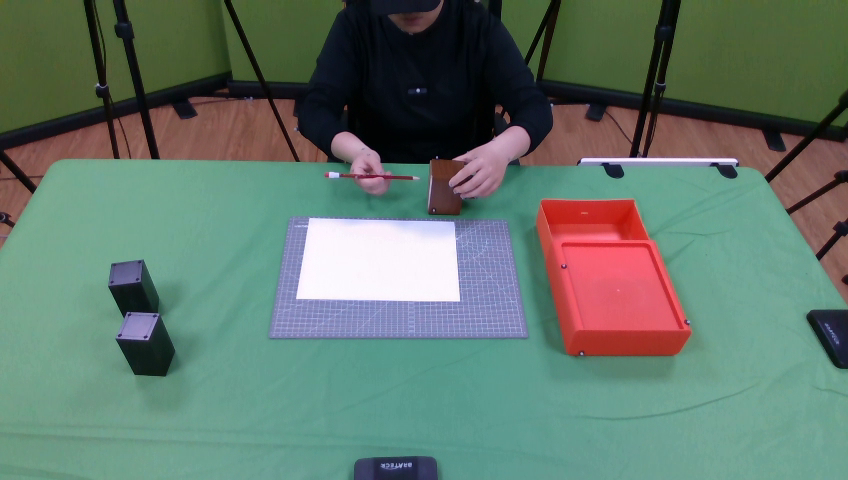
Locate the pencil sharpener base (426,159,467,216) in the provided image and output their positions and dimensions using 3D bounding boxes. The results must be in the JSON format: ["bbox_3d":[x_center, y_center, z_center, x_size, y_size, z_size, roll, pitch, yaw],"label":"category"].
[{"bbox_3d":[0.045,-0.106,1.245,0.077,0.107,0.061,3,45,-3],"label":"pencil sharpener base"}]

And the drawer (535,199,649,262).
[{"bbox_3d":[0.332,0.015,1.169,0.195,0.073,0.210,0,46,-5],"label":"drawer"}]

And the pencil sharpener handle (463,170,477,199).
[{"bbox_3d":[0.097,-0.112,1.239,0.031,0.068,0.036,3,41,-3],"label":"pencil sharpener handle"}]

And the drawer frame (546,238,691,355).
[{"bbox_3d":[0.338,0.097,1.086,0.202,0.083,0.212,0,46,-4],"label":"drawer frame"}]

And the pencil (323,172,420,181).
[{"bbox_3d":[-0.104,-0.125,1.206,0.194,0.012,0.012,2,45,-6],"label":"pencil"}]
